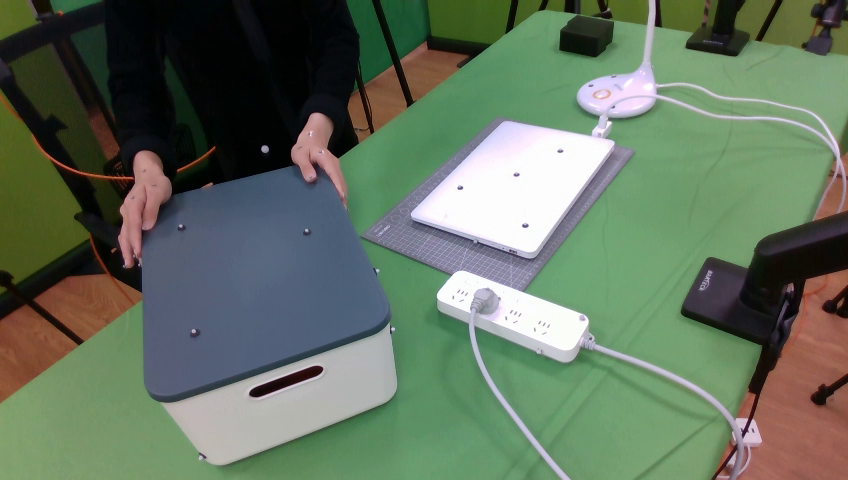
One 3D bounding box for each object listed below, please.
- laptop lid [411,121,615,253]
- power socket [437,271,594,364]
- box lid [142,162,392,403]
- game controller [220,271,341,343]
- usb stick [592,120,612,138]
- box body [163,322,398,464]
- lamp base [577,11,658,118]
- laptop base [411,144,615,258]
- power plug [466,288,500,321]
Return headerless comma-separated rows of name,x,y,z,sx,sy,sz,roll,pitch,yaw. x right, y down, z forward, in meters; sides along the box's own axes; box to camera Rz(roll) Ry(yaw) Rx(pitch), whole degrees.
laptop lid,0.164,-0.112,1.068,0.240,0.013,0.357,19,46,31
power socket,0.118,0.102,0.830,0.225,0.033,0.072,20,48,28
box lid,-0.212,0.025,0.752,0.264,0.015,0.368,-17,41,-13
game controller,-0.185,0.077,0.778,0.155,0.052,0.096,-8,46,-2
usb stick,0.335,-0.203,1.148,0.021,0.027,0.059,25,52,26
box body,-0.205,0.080,0.802,0.255,0.161,0.361,-18,41,-13
lamp base,0.406,-0.363,1.222,0.180,0.181,0.159,-20,42,-18
laptop base,0.167,-0.102,1.074,0.234,0.023,0.355,16,45,30
power plug,0.072,0.093,0.813,0.035,0.053,0.073,30,54,35
